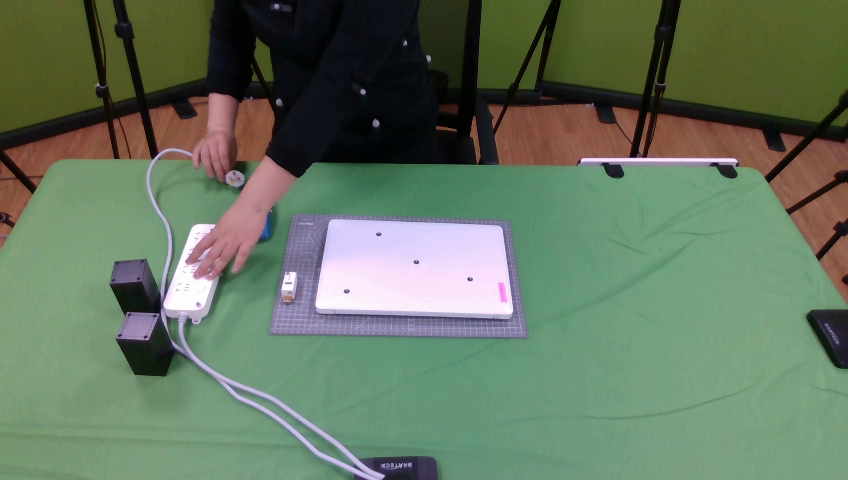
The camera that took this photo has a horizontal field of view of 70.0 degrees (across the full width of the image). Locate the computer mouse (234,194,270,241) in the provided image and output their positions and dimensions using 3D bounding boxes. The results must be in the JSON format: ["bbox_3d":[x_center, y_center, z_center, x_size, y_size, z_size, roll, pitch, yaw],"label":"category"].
[{"bbox_3d":[-0.341,-0.049,1.207,0.063,0.041,0.116,0,51,-8],"label":"computer mouse"}]

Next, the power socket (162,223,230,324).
[{"bbox_3d":[-0.412,0.052,1.106,0.072,0.033,0.225,4,46,-3],"label":"power socket"}]

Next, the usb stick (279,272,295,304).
[{"bbox_3d":[-0.245,0.088,1.085,0.021,0.027,0.059,4,47,-4],"label":"usb stick"}]

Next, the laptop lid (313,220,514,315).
[{"bbox_3d":[-0.017,0.045,1.138,0.357,0.013,0.240,3,43,-1],"label":"laptop lid"}]

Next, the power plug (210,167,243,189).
[{"bbox_3d":[-0.415,-0.131,1.267,0.073,0.052,0.035,20,68,-18],"label":"power plug"}]

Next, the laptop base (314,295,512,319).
[{"bbox_3d":[-0.018,0.055,1.144,0.354,0.023,0.234,2,42,-2],"label":"laptop base"}]
